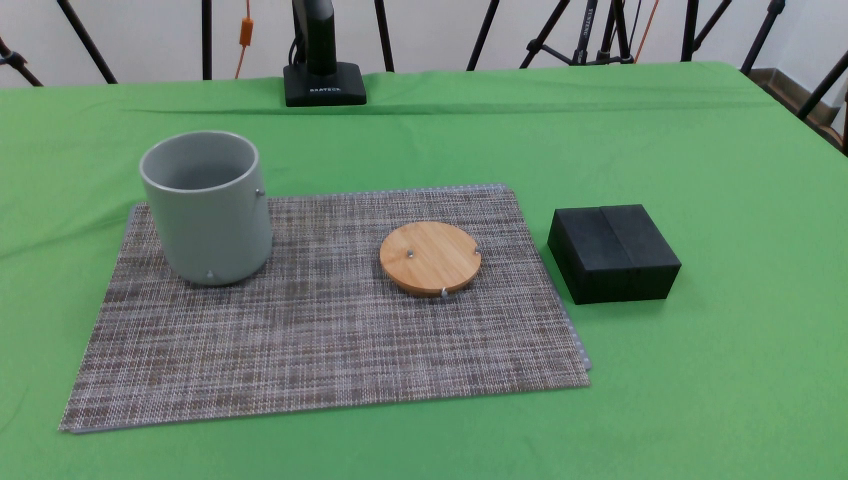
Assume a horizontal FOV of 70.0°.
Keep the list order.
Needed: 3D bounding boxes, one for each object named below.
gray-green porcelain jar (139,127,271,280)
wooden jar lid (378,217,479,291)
[{"bbox_3d":[-0.210,-0.032,0.601,0.106,0.127,0.105,2,41,-2],"label":"gray-green porcelain jar"},{"bbox_3d":[0.005,0.015,0.647,0.108,0.021,0.107,4,42,-3],"label":"wooden jar lid"}]
